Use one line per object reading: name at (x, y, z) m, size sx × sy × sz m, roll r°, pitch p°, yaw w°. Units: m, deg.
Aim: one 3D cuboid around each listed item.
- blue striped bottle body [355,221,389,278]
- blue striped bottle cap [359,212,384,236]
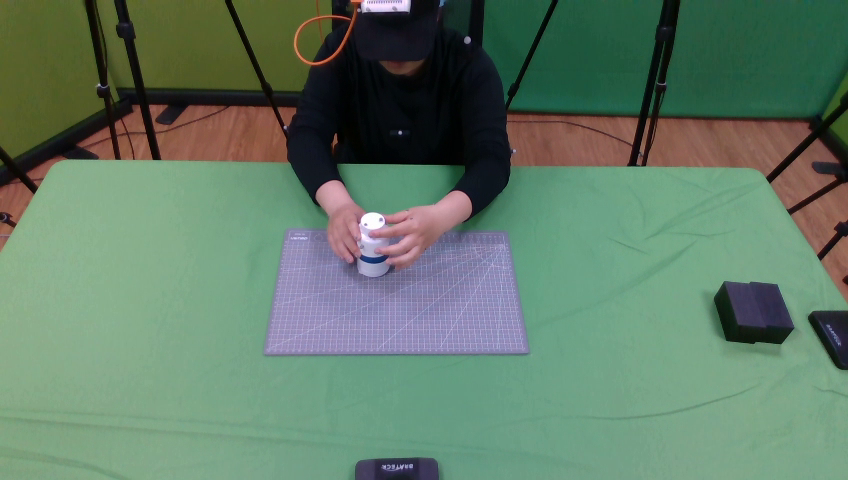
blue striped bottle body at (-0.095, 0.008, 1.112) m, size 0.063 × 0.121 × 0.062 m, roll 2°, pitch 45°, yaw -2°
blue striped bottle cap at (-0.093, -0.029, 1.076) m, size 0.044 × 0.021 × 0.044 m, roll 4°, pitch 47°, yaw -4°
